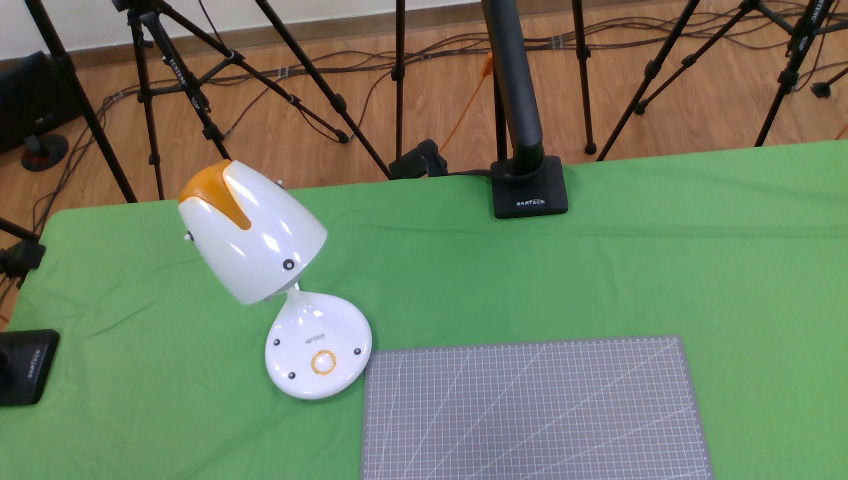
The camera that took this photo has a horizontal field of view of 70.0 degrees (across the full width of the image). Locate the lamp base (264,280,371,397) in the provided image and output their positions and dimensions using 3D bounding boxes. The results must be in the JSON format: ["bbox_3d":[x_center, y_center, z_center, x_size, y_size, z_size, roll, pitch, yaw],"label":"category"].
[{"bbox_3d":[-0.175,0.106,0.840,0.160,0.182,0.177,-30,56,-10],"label":"lamp base"}]

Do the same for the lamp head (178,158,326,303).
[{"bbox_3d":[-0.174,-0.018,0.584,0.112,0.124,0.111,-34,19,14],"label":"lamp head"}]
